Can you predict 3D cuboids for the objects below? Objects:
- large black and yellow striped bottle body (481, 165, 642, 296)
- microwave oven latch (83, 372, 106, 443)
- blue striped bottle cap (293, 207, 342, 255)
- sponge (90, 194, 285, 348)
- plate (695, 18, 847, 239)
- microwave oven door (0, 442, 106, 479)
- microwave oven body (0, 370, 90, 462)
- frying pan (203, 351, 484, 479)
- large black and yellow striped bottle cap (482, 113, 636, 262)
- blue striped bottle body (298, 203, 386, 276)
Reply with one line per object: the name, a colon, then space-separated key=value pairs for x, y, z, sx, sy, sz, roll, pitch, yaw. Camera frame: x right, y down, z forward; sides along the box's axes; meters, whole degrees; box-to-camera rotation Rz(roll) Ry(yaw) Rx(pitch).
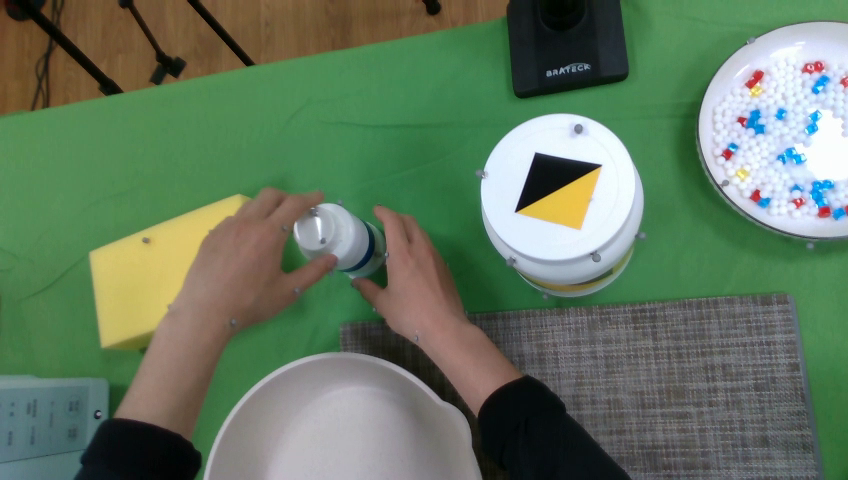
large black and yellow striped bottle body: x=0.123 y=-0.023 z=0.539 sx=0.130 sy=0.185 sz=0.130 roll=-3 pitch=78 yaw=16
microwave oven latch: x=-0.388 y=0.193 z=0.701 sx=0.030 sy=0.030 sz=0.079 roll=-6 pitch=79 yaw=15
blue striped bottle cap: x=-0.102 y=-0.009 z=0.578 sx=0.044 sy=0.021 sz=0.044 roll=-4 pitch=76 yaw=15
sponge: x=-0.276 y=0.040 z=0.705 sx=0.206 sy=0.061 sz=0.117 roll=-20 pitch=76 yaw=11
plate: x=0.362 y=-0.101 z=0.562 sx=0.208 sy=0.038 sz=0.208 roll=-3 pitch=79 yaw=16
microwave oven door: x=-0.410 y=0.388 z=0.564 sx=0.039 sy=0.245 sz=0.354 roll=-6 pitch=78 yaw=15
microwave oven body: x=-0.551 y=0.362 z=0.615 sx=0.325 sy=0.262 sz=0.439 roll=-5 pitch=79 yaw=15
frying pan: x=-0.026 y=0.336 z=0.554 sx=0.307 sy=0.103 sz=0.483 roll=-36 pitch=64 yaw=8
large black and yellow striped bottle cap: x=0.101 y=-0.040 z=0.459 sx=0.114 sy=0.019 sz=0.114 roll=-3 pitch=81 yaw=15
blue striped bottle body: x=-0.088 y=-0.001 z=0.627 sx=0.063 sy=0.121 sz=0.063 roll=-3 pitch=79 yaw=16
